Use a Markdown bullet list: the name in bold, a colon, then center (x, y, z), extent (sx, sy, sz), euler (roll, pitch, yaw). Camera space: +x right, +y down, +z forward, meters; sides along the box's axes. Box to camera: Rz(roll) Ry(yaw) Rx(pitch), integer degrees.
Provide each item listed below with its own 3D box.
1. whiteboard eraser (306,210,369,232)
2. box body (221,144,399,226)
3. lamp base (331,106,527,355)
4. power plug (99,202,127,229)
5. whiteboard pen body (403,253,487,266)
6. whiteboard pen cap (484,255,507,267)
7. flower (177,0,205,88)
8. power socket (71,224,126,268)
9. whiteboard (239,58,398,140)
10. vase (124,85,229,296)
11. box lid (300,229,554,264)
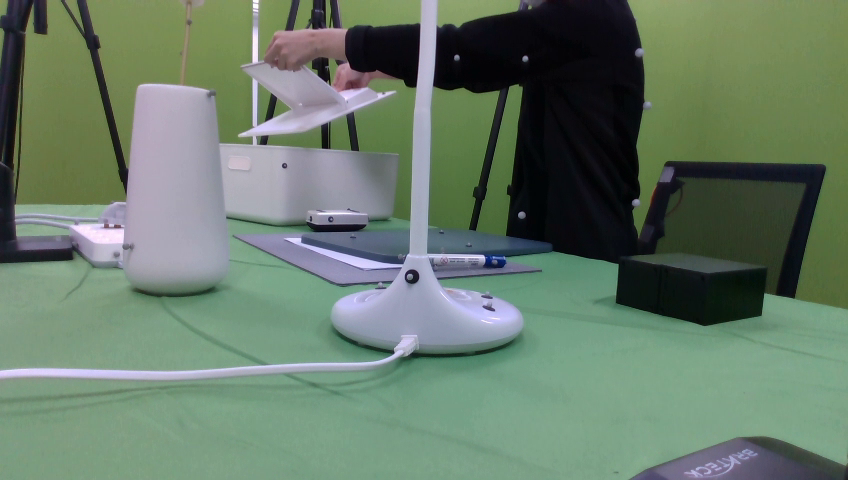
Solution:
- **whiteboard eraser**: center (-0.168, -0.038, 1.172), extent (0.113, 0.042, 0.055), euler (-3, 7, -34)
- **box body**: center (-0.264, -0.129, 1.380), extent (0.253, 0.160, 0.366), euler (8, 9, 39)
- **lamp base**: center (0.006, -0.012, 0.478), extent (0.161, 0.180, 0.179), euler (2, 10, 2)
- **power plug**: center (-0.415, -0.026, 0.848), extent (0.073, 0.052, 0.035), euler (6, 5, -28)
- **whiteboard pen body**: center (0.039, 0.026, 0.785), extent (0.141, 0.017, 0.017), euler (1, 7, -24)
- **whiteboard pen cap**: center (0.093, 0.028, 0.809), extent (0.033, 0.018, 0.018), euler (1, 7, -24)
- **flower**: center (-0.243, -0.131, 0.609), extent (0.044, 0.361, 0.038), euler (-5, -12, 11)
- **power socket**: center (-0.409, 0.004, 0.793), extent (0.072, 0.032, 0.225), euler (-2, 8, -37)
- **whiteboard**: center (-0.245, -0.336, 1.314), extent (0.216, 0.144, 0.306), euler (3, 27, 39)
- **vase**: center (-0.244, -0.047, 0.598), extent (0.098, 0.200, 0.098), euler (3, 8, 0)
- **box lid**: center (0.011, 0.006, 0.999), extent (0.374, 0.015, 0.262), euler (-3, 9, -43)
